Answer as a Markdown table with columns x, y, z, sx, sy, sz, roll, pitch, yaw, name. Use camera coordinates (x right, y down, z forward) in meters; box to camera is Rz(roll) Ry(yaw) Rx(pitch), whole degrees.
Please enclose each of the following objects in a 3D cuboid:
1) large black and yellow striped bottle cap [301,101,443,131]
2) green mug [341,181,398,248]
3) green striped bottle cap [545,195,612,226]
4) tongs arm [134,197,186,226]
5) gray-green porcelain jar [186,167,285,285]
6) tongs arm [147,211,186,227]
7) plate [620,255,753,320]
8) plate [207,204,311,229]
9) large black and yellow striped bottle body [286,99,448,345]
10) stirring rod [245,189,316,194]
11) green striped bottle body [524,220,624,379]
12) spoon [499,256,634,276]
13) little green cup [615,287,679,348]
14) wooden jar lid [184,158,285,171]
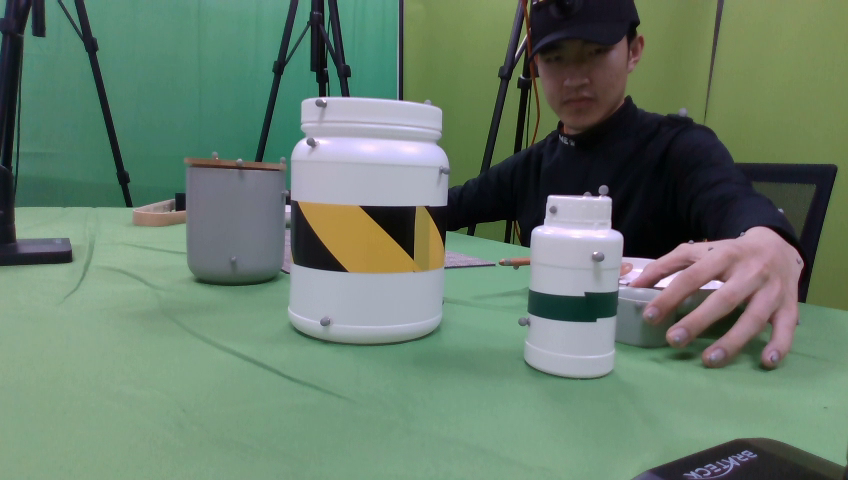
| x | y | z | sx | sy | sz | roll | pitch | yaw | name |
| --- | --- | --- | --- | --- | --- | --- | --- | --- | --- |
| -0.042 | -0.100 | 0.491 | 0.115 | 0.019 | 0.115 | 1 | 8 | 0 | large black and yellow striped bottle cap |
| -0.090 | -0.044 | 0.997 | 0.093 | 0.105 | 0.125 | 1 | 7 | -8 | green mug |
| 0.106 | -0.020 | 0.414 | 0.044 | 0.020 | 0.044 | 2 | 4 | 0 | green striped bottle cap |
| -0.556 | -0.066 | 1.320 | 0.051 | 0.026 | 0.384 | 7 | 7 | -5 | tongs arm |
| -0.212 | -0.017 | 0.682 | 0.106 | 0.126 | 0.106 | 2 | 7 | 0 | gray-green porcelain jar |
| -0.478 | -0.059 | 1.322 | 0.028 | 0.028 | 0.388 | 12 | 8 | 7 | tongs arm |
| 0.234 | 0.049 | 0.651 | 0.209 | 0.038 | 0.209 | 2 | 7 | 0 | plate |
| -0.342 | -0.050 | 1.259 | 0.208 | 0.039 | 0.207 | 2 | 7 | 0 | plate |
| -0.047 | -0.018 | 0.501 | 0.131 | 0.184 | 0.130 | 2 | 7 | 0 | large black and yellow striped bottle body |
| -0.351 | -0.120 | 1.489 | 0.177 | 0.014 | 0.006 | -2 | 5 | -29 | stirring rod |
| 0.104 | 0.031 | 0.422 | 0.063 | 0.119 | 0.063 | 2 | 7 | 0 | green striped bottle body |
| 0.162 | 0.027 | 0.679 | 0.195 | 0.021 | 0.041 | 8 | 3 | -30 | spoon |
| 0.180 | 0.064 | 0.506 | 0.061 | 0.038 | 0.061 | 1 | 8 | 0 | little green cup |
| -0.210 | -0.078 | 0.674 | 0.108 | 0.020 | 0.108 | 5 | 6 | 0 | wooden jar lid |
